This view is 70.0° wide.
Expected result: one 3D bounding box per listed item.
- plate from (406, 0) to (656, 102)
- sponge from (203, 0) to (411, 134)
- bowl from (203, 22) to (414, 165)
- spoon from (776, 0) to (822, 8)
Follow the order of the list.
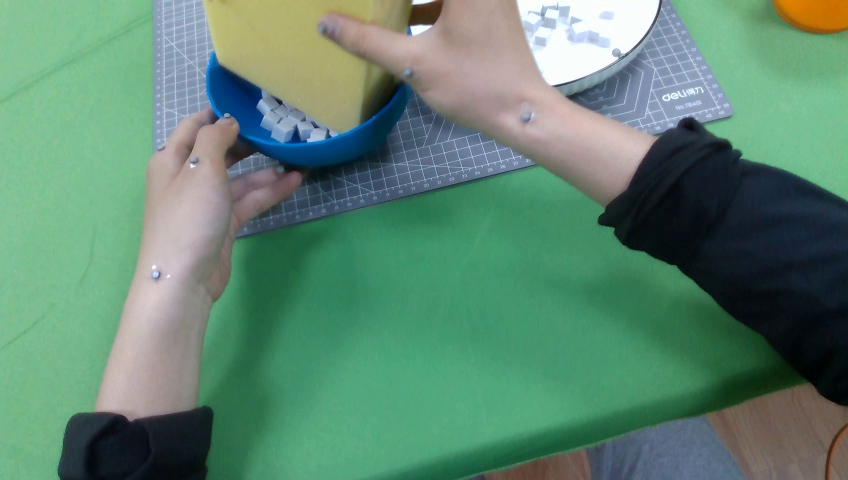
[{"bbox_3d":[0.082,-0.194,0.505,0.209,0.038,0.207,-3,64,5],"label":"plate"},{"bbox_3d":[-0.069,-0.161,0.356,0.118,0.208,0.060,30,65,2],"label":"sponge"},{"bbox_3d":[-0.077,-0.110,0.458,0.151,0.077,0.150,-3,64,6],"label":"bowl"},{"bbox_3d":[0.351,-0.243,0.439,0.022,0.194,0.041,3,58,-43],"label":"spoon"}]
